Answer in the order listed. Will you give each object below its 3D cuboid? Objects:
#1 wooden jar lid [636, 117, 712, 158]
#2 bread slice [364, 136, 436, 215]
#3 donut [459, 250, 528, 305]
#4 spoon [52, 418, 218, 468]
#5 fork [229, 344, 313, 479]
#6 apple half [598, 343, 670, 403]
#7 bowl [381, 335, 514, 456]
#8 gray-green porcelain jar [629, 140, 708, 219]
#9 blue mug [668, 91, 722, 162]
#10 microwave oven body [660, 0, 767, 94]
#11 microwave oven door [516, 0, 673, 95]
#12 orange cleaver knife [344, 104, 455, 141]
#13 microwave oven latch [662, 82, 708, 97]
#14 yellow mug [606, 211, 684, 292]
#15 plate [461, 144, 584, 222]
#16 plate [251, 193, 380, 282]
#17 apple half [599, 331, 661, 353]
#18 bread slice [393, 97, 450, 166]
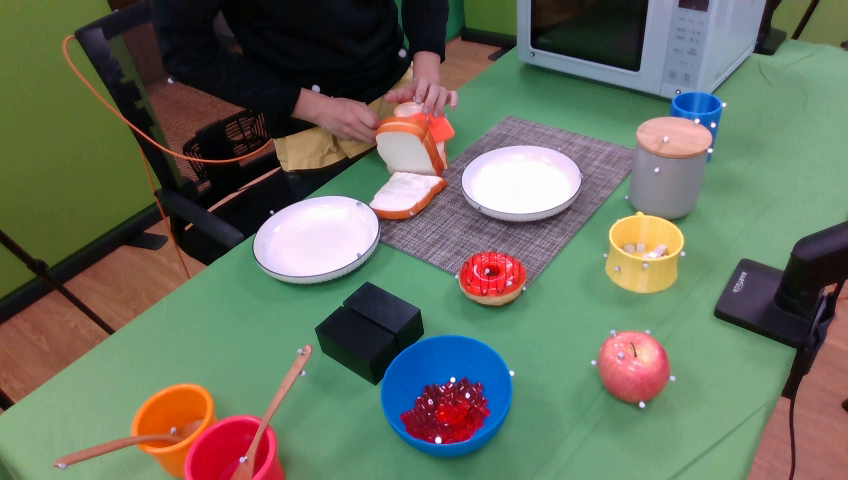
[{"bbox_3d":[0.377,-0.151,0.917,0.108,0.021,0.108,-2,42,2],"label":"wooden jar lid"},{"bbox_3d":[-0.051,-0.109,1.028,0.106,0.018,0.134,17,86,21],"label":"bread slice"},{"bbox_3d":[0.100,0.053,0.872,0.099,0.048,0.098,-4,40,4],"label":"donut"},{"bbox_3d":[-0.308,0.220,0.663,0.041,0.195,0.021,21,93,29],"label":"spoon"},{"bbox_3d":[-0.173,0.205,0.662,0.028,0.019,0.207,29,94,36],"label":"fork"},{"bbox_3d":[0.247,0.161,0.710,0.081,0.075,0.053,1,46,4],"label":"apple half"},{"bbox_3d":[0.029,0.192,0.701,0.151,0.077,0.150,-4,40,4],"label":"bowl"},{"bbox_3d":[0.383,-0.105,0.958,0.106,0.127,0.105,-4,41,4],"label":"gray-green porcelain jar"},{"bbox_3d":[0.474,-0.207,1.078,0.082,0.106,0.116,4,42,13],"label":"blue mug"},{"bbox_3d":[0.473,-0.516,1.313,0.438,0.261,0.327,26,51,34],"label":"microwave oven body"},{"bbox_3d":[0.344,-0.458,1.256,0.353,0.245,0.039,26,51,33],"label":"microwave oven door"},{"bbox_3d":[-0.048,-0.207,1.120,0.210,0.077,0.012,-4,43,23],"label":"orange cleaver knife"},{"bbox_3d":[0.517,-0.298,1.202,0.078,0.029,0.030,27,52,34],"label":"microwave oven latch"},{"bbox_3d":[0.318,0.008,0.883,0.100,0.064,0.130,0,40,9],"label":"yellow mug"},{"bbox_3d":[0.168,-0.095,1.040,0.207,0.039,0.206,-4,40,4],"label":"plate"},{"bbox_3d":[-0.173,-0.001,0.984,0.209,0.038,0.208,-4,40,4],"label":"plate"},{"bbox_3d":[0.249,0.134,0.738,0.081,0.081,0.032,-1,46,7],"label":"apple half"},{"bbox_3d":[-0.005,-0.200,1.124,0.104,0.132,0.019,6,33,17],"label":"bread slice"}]
